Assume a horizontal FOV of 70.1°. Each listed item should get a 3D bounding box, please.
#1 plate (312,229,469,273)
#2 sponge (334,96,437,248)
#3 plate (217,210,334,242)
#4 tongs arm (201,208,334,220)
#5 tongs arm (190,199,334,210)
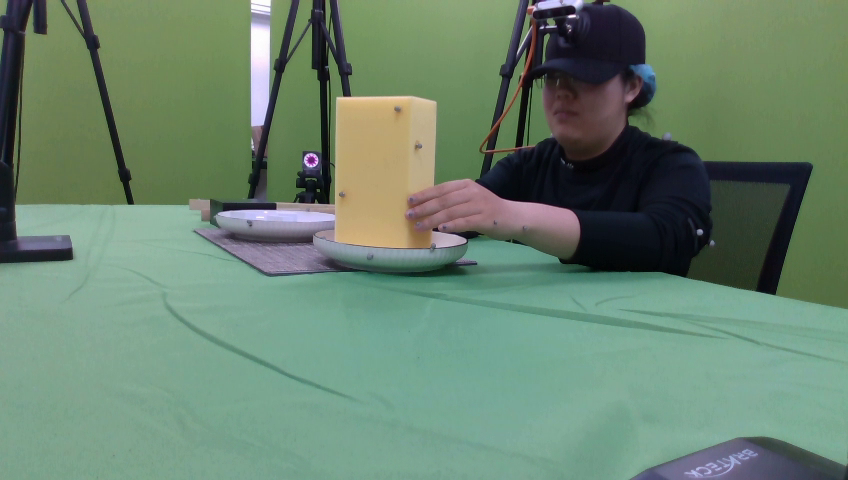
[{"bbox_3d":[-0.044,0.013,0.807,0.209,0.038,0.209,2,7,0],"label":"plate"},{"bbox_3d":[-0.051,-0.077,0.779,0.118,0.206,0.061,5,7,31],"label":"sponge"},{"bbox_3d":[-0.241,-0.024,1.026,0.208,0.039,0.207,3,7,0],"label":"plate"},{"bbox_3d":[-0.302,-0.060,1.350,0.390,0.028,0.028,-3,6,-38],"label":"tongs arm"},{"bbox_3d":[-0.341,-0.075,1.419,0.387,0.026,0.050,1,8,-25],"label":"tongs arm"}]
